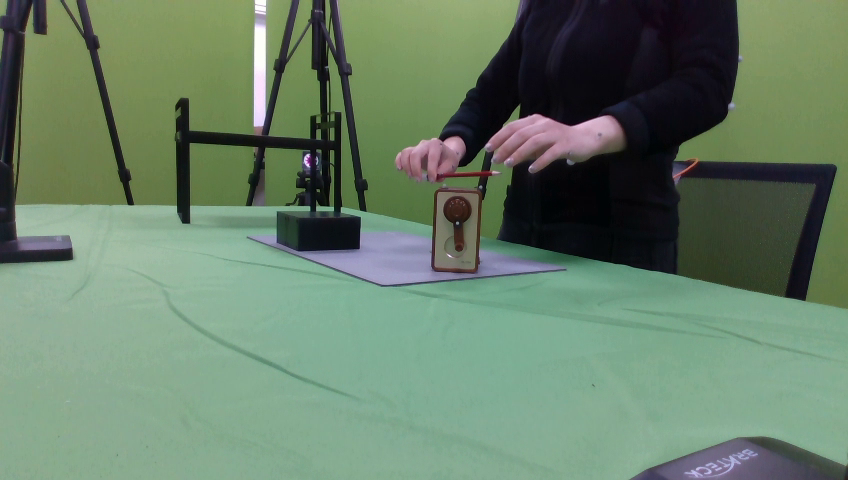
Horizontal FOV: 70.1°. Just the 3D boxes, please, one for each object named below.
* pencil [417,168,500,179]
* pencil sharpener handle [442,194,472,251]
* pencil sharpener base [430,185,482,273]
[{"bbox_3d":[0.051,-0.106,0.959,0.012,0.012,0.193,-4,4,-39],"label":"pencil"},{"bbox_3d":[0.041,-0.021,0.731,0.036,0.067,0.030,-4,7,4],"label":"pencil sharpener handle"},{"bbox_3d":[0.042,-0.016,0.784,0.061,0.107,0.076,3,8,3],"label":"pencil sharpener base"}]
